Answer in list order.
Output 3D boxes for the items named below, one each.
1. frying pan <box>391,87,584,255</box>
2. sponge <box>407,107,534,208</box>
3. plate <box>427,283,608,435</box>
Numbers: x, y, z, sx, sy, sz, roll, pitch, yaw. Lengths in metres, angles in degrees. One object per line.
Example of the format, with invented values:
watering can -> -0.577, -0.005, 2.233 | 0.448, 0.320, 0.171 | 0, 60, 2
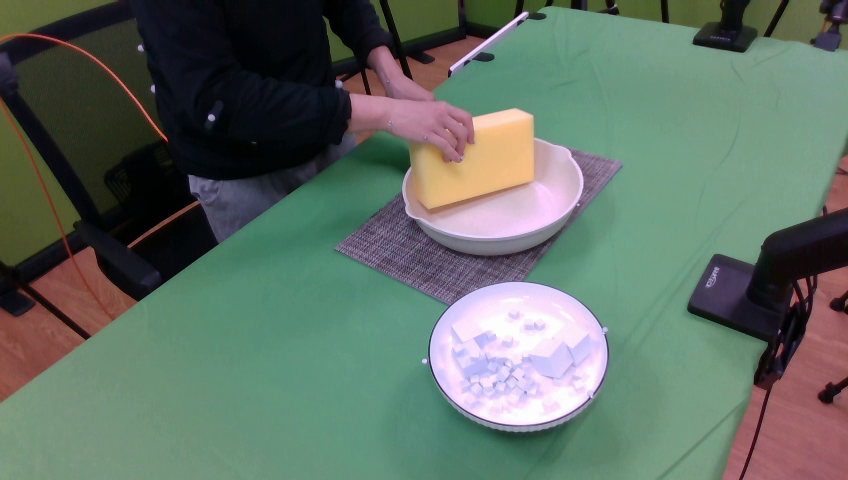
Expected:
frying pan -> 0.063, -0.143, 1.056 | 0.308, 0.103, 0.483 | -22, 51, -18
sponge -> 0.083, -0.141, 1.013 | 0.208, 0.118, 0.060 | -17, 31, -20
plate -> 0.108, 0.137, 0.708 | 0.207, 0.039, 0.206 | -4, 42, 4
